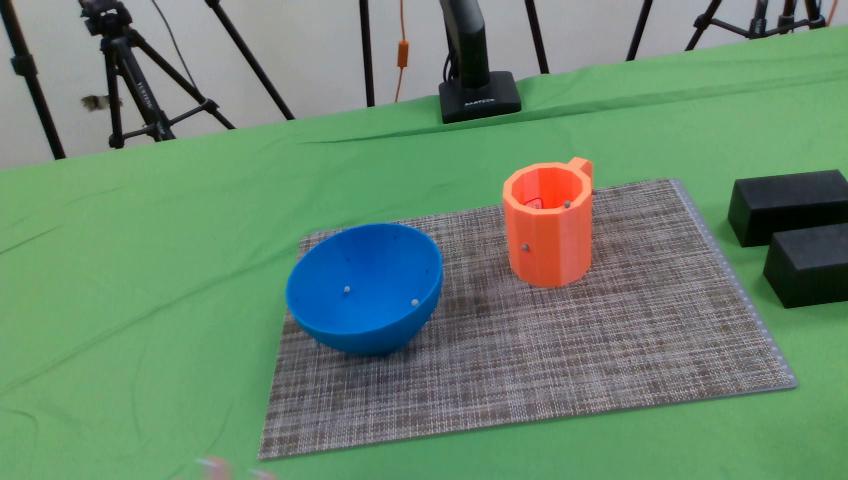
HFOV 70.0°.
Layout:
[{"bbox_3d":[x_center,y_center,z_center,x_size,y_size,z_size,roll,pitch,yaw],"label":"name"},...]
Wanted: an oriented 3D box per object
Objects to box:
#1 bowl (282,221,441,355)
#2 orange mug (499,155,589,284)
[{"bbox_3d":[-0.052,0.058,0.589,0.151,0.077,0.150,-7,40,7],"label":"bowl"},{"bbox_3d":[0.134,-0.029,0.626,0.083,0.102,0.126,22,55,34],"label":"orange mug"}]
